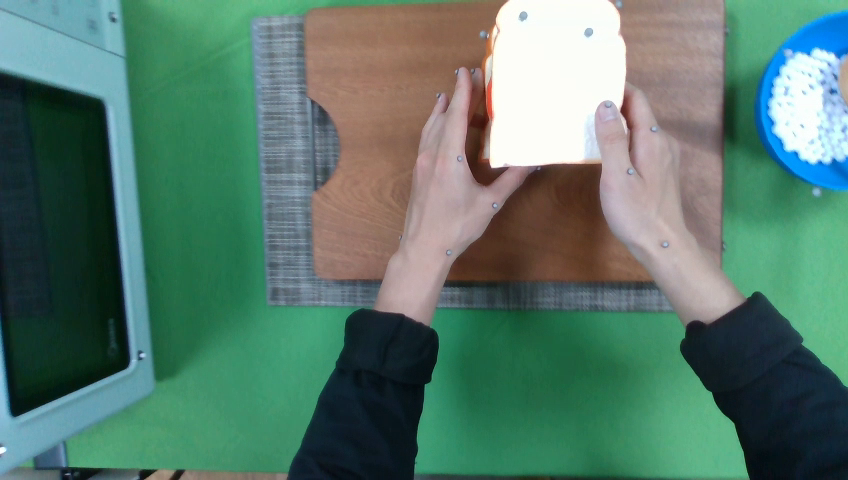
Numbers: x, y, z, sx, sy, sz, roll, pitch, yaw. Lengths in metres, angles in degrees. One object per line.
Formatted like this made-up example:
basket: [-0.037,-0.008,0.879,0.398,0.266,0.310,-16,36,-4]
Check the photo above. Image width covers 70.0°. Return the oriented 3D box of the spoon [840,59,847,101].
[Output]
spoon: [0.387,-0.074,0.519,0.041,0.022,0.192,4,74,-1]

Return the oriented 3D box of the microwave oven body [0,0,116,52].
microwave oven body: [-0.471,-0.039,0.550,0.326,0.260,0.442,-3,94,6]

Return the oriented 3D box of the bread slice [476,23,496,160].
bread slice: [0.097,-0.135,0.526,0.105,0.019,0.132,-2,98,0]

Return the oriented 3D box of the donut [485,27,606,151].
donut: [0.099,-0.123,0.498,0.099,0.048,0.099,1,98,5]

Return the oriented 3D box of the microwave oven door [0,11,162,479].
microwave oven door: [-0.324,-0.003,0.532,0.039,0.244,0.356,-3,93,7]

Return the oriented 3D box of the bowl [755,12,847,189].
bowl: [0.370,-0.120,0.549,0.151,0.077,0.151,0,94,7]

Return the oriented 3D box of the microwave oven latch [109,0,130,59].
microwave oven latch: [-0.322,-0.227,0.618,0.030,0.029,0.079,-2,94,6]

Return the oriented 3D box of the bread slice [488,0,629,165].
bread slice: [0.099,-0.125,0.468,0.107,0.018,0.134,-5,94,3]
